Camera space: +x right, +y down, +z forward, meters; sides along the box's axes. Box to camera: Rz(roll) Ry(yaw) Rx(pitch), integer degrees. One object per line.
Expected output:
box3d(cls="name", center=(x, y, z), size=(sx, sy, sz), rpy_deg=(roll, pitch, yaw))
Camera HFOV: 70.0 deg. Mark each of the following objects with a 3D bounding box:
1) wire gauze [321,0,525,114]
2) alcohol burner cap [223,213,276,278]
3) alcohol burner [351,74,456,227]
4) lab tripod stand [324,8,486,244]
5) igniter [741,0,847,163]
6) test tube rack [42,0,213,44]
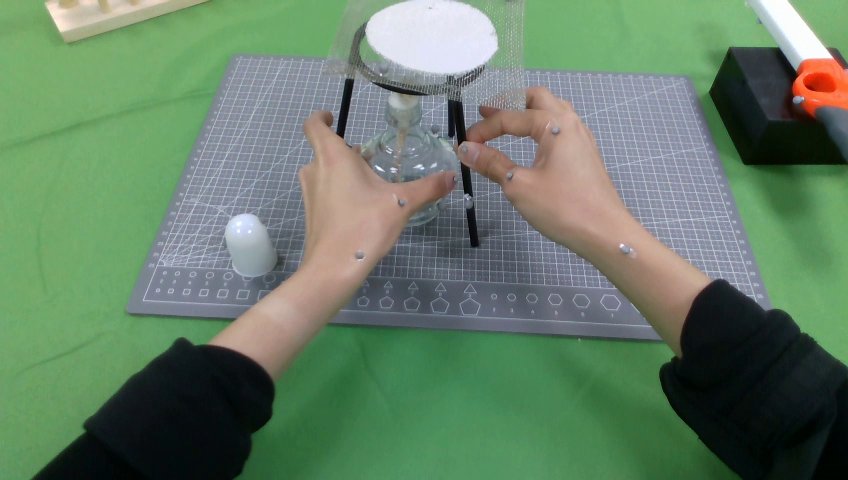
box3d(cls="wire gauze", center=(0.005, -0.131, 0.393), size=(0.125, 0.011, 0.120), rpy_deg=(7, 52, 1))
box3d(cls="alcohol burner cap", center=(-0.125, 0.001, 0.429), size=(0.034, 0.048, 0.033), rpy_deg=(2, 51, -2))
box3d(cls="alcohol burner", center=(-0.016, -0.067, 0.438), size=(0.078, 0.120, 0.077), rpy_deg=(-1, 49, 1))
box3d(cls="lab tripod stand", center=(-0.003, -0.084, 0.441), size=(0.148, 0.132, 0.147), rpy_deg=(2, 51, -2))
box3d(cls="igniter", center=(0.328, -0.139, 0.508), size=(0.057, 0.025, 0.273), rpy_deg=(-1, 49, 1))
box3d(cls="test tube rack", center=(-0.278, -0.295, 0.633), size=(0.242, 0.086, 0.066), rpy_deg=(-27, 58, -21))
